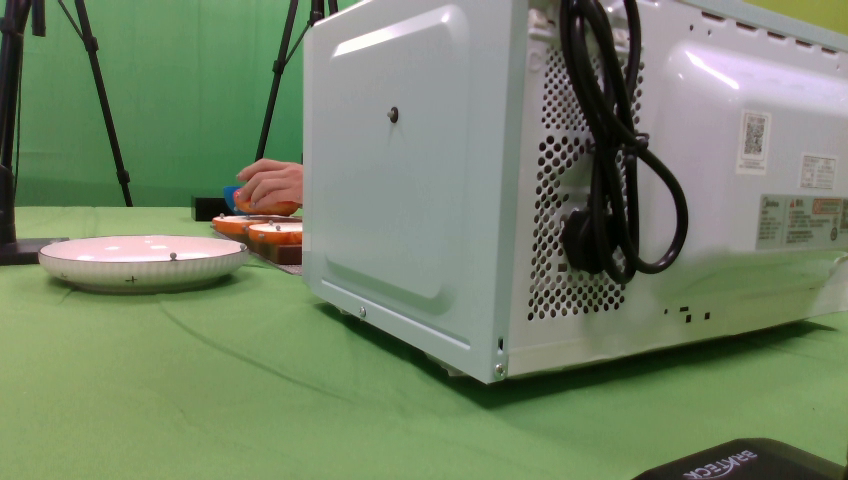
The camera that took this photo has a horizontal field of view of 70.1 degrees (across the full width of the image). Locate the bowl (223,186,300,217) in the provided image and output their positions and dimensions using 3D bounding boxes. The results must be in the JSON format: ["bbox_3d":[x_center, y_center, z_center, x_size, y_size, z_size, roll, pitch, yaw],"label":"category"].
[{"bbox_3d":[-0.330,-0.068,1.230,0.151,0.077,0.151,3,7,0],"label":"bowl"}]

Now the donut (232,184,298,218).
[{"bbox_3d":[-0.246,-0.062,0.941,0.099,0.048,0.099,6,10,-1],"label":"donut"}]

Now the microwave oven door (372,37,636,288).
[{"bbox_3d":[0.110,-0.080,0.686,0.358,0.243,0.039,-2,9,-33],"label":"microwave oven door"}]

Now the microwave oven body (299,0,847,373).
[{"bbox_3d":[0.151,-0.055,0.542,0.444,0.260,0.324,-2,7,-33],"label":"microwave oven body"}]

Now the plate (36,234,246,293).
[{"bbox_3d":[-0.305,0.026,0.668,0.208,0.039,0.207,3,7,0],"label":"plate"}]

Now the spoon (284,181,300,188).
[{"bbox_3d":[-0.301,-0.101,1.260,0.041,0.021,0.194,11,29,33],"label":"spoon"}]

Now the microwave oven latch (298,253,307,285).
[{"bbox_3d":[-0.081,0.027,0.582,0.079,0.029,0.030,-1,7,-31],"label":"microwave oven latch"}]

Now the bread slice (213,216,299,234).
[{"bbox_3d":[-0.256,-0.025,0.936,0.132,0.019,0.104,-4,8,-40],"label":"bread slice"}]

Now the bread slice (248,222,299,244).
[{"bbox_3d":[-0.174,-0.012,0.844,0.135,0.018,0.106,-6,10,-44],"label":"bread slice"}]
